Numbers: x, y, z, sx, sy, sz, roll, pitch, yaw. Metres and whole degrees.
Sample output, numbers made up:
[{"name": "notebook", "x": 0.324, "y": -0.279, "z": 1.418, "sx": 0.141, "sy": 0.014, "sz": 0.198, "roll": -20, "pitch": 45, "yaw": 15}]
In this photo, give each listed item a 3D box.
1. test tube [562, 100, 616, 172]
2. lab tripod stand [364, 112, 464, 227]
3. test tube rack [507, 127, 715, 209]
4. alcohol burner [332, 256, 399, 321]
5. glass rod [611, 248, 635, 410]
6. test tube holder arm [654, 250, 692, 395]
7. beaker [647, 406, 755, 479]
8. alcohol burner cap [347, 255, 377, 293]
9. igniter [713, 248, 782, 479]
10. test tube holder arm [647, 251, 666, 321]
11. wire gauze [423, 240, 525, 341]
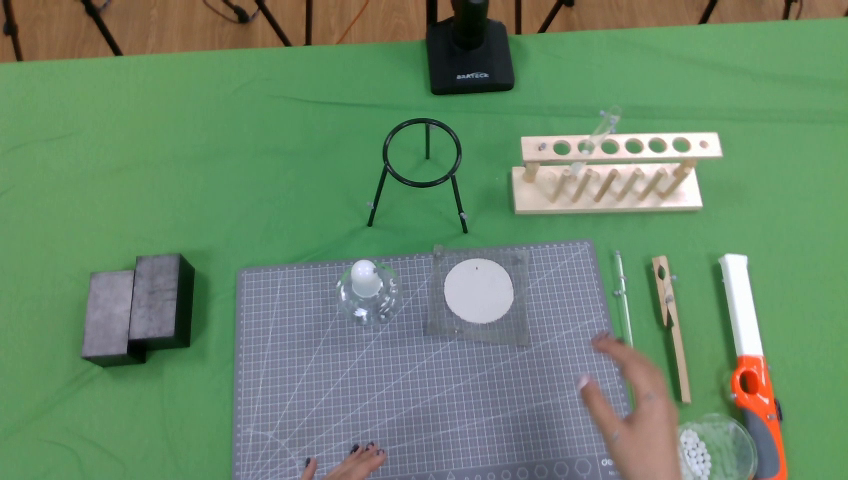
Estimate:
[{"name": "test tube", "x": 0.196, "y": -0.121, "z": 0.730, "sx": 0.017, "sy": 0.151, "sz": 0.017, "roll": 2, "pitch": 69, "yaw": -5}, {"name": "lab tripod stand", "x": -0.011, "y": -0.078, "z": 0.736, "sx": 0.148, "sy": 0.132, "sz": 0.147, "roll": 0, "pitch": 69, "yaw": -1}, {"name": "test tube rack", "x": 0.234, "y": -0.090, "z": 0.772, "sx": 0.242, "sy": 0.086, "sz": 0.066, "roll": -2, "pitch": 67, "yaw": -2}, {"name": "alcohol burner", "x": -0.068, "y": 0.049, "z": 0.689, "sx": 0.078, "sy": 0.120, "sz": 0.077, "roll": 0, "pitch": 67, "yaw": 1}, {"name": "glass rod", "x": 0.241, "y": 0.103, "z": 0.733, "sx": 0.008, "sy": 0.008, "sz": 0.198, "roll": 0, "pitch": 70, "yaw": -1}, {"name": "test tube holder arm", "x": 0.298, "y": 0.097, "z": 0.730, "sx": 0.013, "sy": 0.015, "sz": 0.177, "roll": -19, "pitch": 63, "yaw": 30}, {"name": "beaker", "x": 0.282, "y": 0.218, "z": 0.638, "sx": 0.084, "sy": 0.101, "sz": 0.073, "roll": 24, "pitch": 68, "yaw": 10}, {"name": "alcohol burner cap", "x": -0.068, "y": 0.034, "z": 0.656, "sx": 0.034, "sy": 0.048, "sz": 0.033, "roll": 1, "pitch": 61, "yaw": -1}, {"name": "igniter", "x": 0.378, "y": 0.139, "z": 0.711, "sx": 0.057, "sy": 0.025, "sz": 0.274, "roll": 6, "pitch": 67, "yaw": -10}, {"name": "test tube holder arm", "x": 0.291, "y": 0.057, "z": 0.750, "sx": 0.010, "sy": 0.015, "sz": 0.087, "roll": -17, "pitch": 64, "yaw": 31}, {"name": "wire gauze", "x": 0.064, "y": 0.058, "z": 0.746, "sx": 0.125, "sy": 0.011, "sz": 0.120, "roll": 6, "pitch": 68, "yaw": 0}]
